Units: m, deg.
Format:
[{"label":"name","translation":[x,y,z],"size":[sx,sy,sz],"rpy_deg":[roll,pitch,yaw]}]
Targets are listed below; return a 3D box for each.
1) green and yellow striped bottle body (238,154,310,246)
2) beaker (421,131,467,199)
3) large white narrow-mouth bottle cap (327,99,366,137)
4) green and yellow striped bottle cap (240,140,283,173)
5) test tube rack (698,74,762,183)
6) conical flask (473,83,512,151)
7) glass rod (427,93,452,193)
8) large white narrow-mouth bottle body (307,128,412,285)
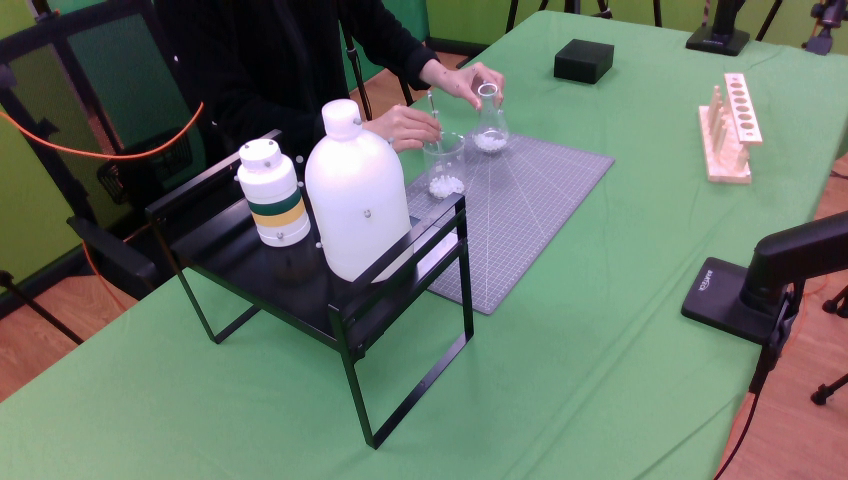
[{"label":"green and yellow striped bottle body","translation":[-0.178,-0.056,0.714],"size":[0.063,0.120,0.063],"rpy_deg":[-4,40,4]},{"label":"beaker","translation":[0.040,-0.130,1.060],"size":[0.084,0.100,0.073],"rpy_deg":[-24,44,-20]},{"label":"large white narrow-mouth bottle cap","translation":[-0.075,-0.118,0.582],"size":[0.038,0.024,0.037],"rpy_deg":[-3,40,3]},{"label":"green and yellow striped bottle cap","translation":[-0.183,-0.094,0.679],"size":[0.045,0.020,0.045],"rpy_deg":[-4,38,4]},{"label":"test tube rack","translation":[0.547,-0.208,1.095],"size":[0.066,0.085,0.242],"rpy_deg":[5,42,15]},{"label":"conical flask","translation":[0.124,-0.231,1.123],"size":[0.075,0.122,0.075],"rpy_deg":[-5,51,6]},{"label":"glass rod","translation":[0.028,-0.155,1.006],"size":[0.008,0.201,0.008],"rpy_deg":[-8,42,8]},{"label":"large white narrow-mouth bottle body","translation":[-0.070,-0.051,0.638],"size":[0.102,0.195,0.101],"rpy_deg":[-3,40,3]}]
